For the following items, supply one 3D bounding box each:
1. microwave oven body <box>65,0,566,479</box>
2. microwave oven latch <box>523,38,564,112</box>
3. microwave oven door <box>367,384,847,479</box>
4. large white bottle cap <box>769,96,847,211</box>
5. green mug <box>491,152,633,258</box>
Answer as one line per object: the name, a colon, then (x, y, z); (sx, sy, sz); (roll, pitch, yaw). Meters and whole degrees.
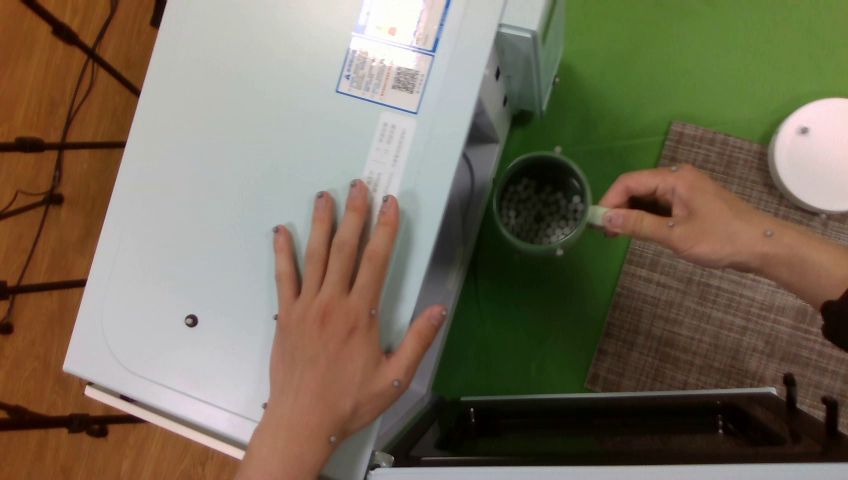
microwave oven body: (-0.084, -0.058, 0.585); (0.325, 0.261, 0.441); (17, 92, 11)
microwave oven latch: (0.126, -0.179, 0.644); (0.030, 0.029, 0.079); (18, 92, 12)
microwave oven door: (0.155, 0.171, 0.522); (0.355, 0.244, 0.039); (-5, 86, 12)
large white bottle cap: (0.410, -0.086, 0.606); (0.114, 0.018, 0.114); (-1, 87, 11)
green mug: (0.120, -0.027, 0.535); (0.125, 0.105, 0.092); (13, 91, 13)
